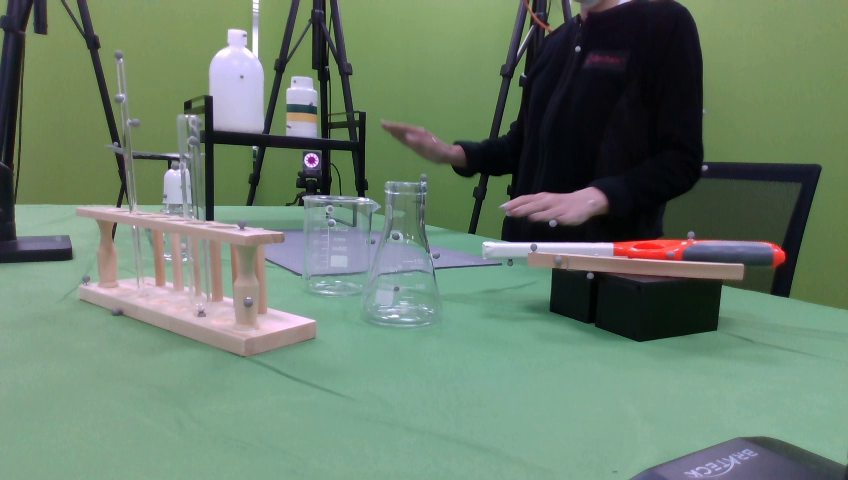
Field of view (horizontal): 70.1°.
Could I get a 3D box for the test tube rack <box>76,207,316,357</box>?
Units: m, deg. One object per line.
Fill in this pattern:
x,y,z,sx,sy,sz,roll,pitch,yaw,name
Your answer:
-0.196,0.023,0.500,0.241,0.085,0.067,8,9,36,test tube rack

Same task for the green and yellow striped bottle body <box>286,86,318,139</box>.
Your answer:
-0.251,-0.270,1.245,0.063,0.119,0.063,2,7,0,green and yellow striped bottle body

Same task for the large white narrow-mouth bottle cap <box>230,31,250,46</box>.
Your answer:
-0.355,-0.388,1.167,0.038,0.024,0.037,4,6,0,large white narrow-mouth bottle cap

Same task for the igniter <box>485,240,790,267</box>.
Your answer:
0.197,0.012,0.585,0.276,0.025,0.057,1,5,12,igniter

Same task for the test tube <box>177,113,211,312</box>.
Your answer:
-0.174,-0.020,0.458,0.017,0.150,0.017,-2,5,0,test tube

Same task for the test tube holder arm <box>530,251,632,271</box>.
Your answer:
0.139,0.019,0.538,0.087,0.015,0.010,3,7,13,test tube holder arm

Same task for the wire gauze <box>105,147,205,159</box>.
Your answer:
-0.407,-0.131,0.929,0.125,0.011,0.121,2,6,-11,wire gauze

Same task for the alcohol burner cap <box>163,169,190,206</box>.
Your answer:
-0.320,-0.068,0.782,0.034,0.048,0.034,1,7,0,alcohol burner cap

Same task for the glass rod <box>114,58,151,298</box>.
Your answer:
-0.236,-0.044,0.492,0.008,0.199,0.008,0,15,0,glass rod

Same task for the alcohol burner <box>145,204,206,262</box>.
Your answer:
-0.321,-0.032,0.788,0.078,0.119,0.078,0,7,0,alcohol burner

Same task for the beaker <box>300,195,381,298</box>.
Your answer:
-0.087,0.006,0.626,0.084,0.100,0.074,1,8,-17,beaker

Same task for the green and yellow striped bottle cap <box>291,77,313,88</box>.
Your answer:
-0.249,-0.321,1.237,0.045,0.020,0.045,3,5,0,green and yellow striped bottle cap

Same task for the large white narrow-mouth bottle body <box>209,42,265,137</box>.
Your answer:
-0.361,-0.303,1.175,0.102,0.194,0.102,4,6,0,large white narrow-mouth bottle body

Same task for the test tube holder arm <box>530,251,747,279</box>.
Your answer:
0.182,0.022,0.523,0.178,0.015,0.013,3,7,12,test tube holder arm

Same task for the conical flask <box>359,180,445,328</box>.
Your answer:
-0.017,0.010,0.522,0.075,0.122,0.075,2,7,0,conical flask

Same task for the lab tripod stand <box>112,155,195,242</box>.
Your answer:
-0.405,-0.064,0.931,0.148,0.131,0.148,1,7,0,lab tripod stand
